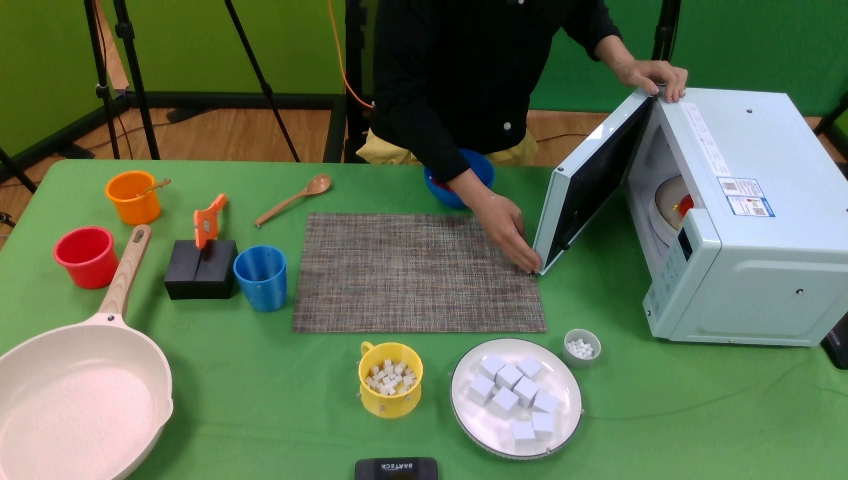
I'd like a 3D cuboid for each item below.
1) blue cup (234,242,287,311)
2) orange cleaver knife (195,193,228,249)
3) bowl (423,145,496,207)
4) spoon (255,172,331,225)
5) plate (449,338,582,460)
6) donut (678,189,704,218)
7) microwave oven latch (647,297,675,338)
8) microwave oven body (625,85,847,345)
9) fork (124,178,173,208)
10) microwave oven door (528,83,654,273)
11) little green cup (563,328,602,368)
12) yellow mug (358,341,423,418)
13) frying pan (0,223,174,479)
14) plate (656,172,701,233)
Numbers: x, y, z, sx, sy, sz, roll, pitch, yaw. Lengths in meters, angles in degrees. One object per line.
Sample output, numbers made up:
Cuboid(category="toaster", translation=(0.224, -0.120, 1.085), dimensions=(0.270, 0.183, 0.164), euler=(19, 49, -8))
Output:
Cuboid(category="blue cup", translation=(-0.276, 0.071, 1.052), dimensions=(0.093, 0.101, 0.092), euler=(1, 48, -1))
Cuboid(category="orange cleaver knife", translation=(-0.406, -0.041, 1.163), dimensions=(0.012, 0.077, 0.210), euler=(0, 18, -3))
Cuboid(category="bowl", translation=(0.073, -0.123, 1.278), dimensions=(0.151, 0.077, 0.150), euler=(2, 46, -2))
Cuboid(category="spoon", translation=(-0.272, -0.087, 1.257), dimensions=(0.041, 0.022, 0.193), euler=(42, 57, 18))
Cuboid(category="plate", translation=(0.141, 0.251, 0.955), dimensions=(0.208, 0.039, 0.206), euler=(2, 47, -2))
Cuboid(category="donut", translation=(0.543, -0.062, 1.174), dimensions=(0.099, 0.048, 0.098), euler=(3, 42, -2))
Cuboid(category="microwave oven latch", translation=(0.413, 0.133, 1.060), dimensions=(0.030, 0.029, 0.078), euler=(5, 46, 2))
Cuboid(category="microwave oven body", translation=(0.568, -0.054, 1.116), dimensions=(0.326, 0.261, 0.439), euler=(2, 46, -1))
Cuboid(category="fork", translation=(-0.525, -0.090, 1.154), dimensions=(0.207, 0.019, 0.028), euler=(-17, 27, 45))
Cuboid(category="microwave oven door", translation=(0.324, -0.124, 1.159), dimensions=(0.039, 0.245, 0.355), euler=(31, 52, 23))
Cuboid(category="little green cup", translation=(0.265, 0.184, 1.025), dimensions=(0.061, 0.039, 0.061), euler=(2, 46, -1))
Cuboid(category="yellow mug", translation=(-0.063, 0.210, 0.961), dimensions=(0.100, 0.064, 0.130), euler=(-29, 54, -27))
Cuboid(category="frying pan", translation=(-0.505, 0.169, 0.941), dimensions=(0.307, 0.103, 0.485), euler=(5, 54, -1))
Cuboid(category="plate", translation=(0.558, -0.055, 1.184), dimensions=(0.209, 0.038, 0.208), euler=(0, 44, 0))
